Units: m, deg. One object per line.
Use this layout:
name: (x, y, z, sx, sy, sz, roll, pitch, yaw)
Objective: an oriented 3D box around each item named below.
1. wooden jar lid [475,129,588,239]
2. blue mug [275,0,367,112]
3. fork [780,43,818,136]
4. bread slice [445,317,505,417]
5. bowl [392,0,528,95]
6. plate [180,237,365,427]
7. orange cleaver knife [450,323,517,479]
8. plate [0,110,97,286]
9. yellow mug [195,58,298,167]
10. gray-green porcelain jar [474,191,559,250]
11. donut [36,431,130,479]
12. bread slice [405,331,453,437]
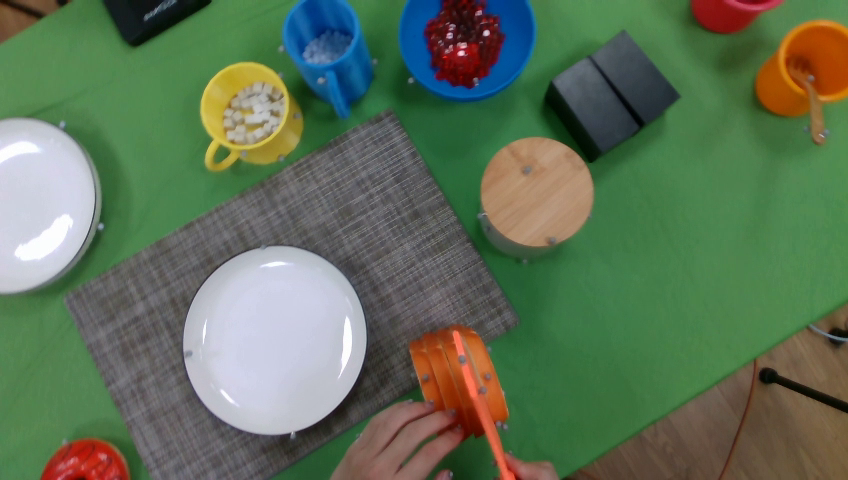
wooden jar lid: (0.103, -0.053, 0.587, 0.108, 0.021, 0.108, 0, 83, 0)
blue mug: (-0.110, -0.203, 0.686, 0.082, 0.106, 0.116, -12, 83, 1)
fork: (0.397, -0.163, 0.638, 0.028, 0.019, 0.206, 31, 42, -1)
bread slice: (0.053, 0.131, 0.629, 0.019, 0.131, 0.105, -20, 87, -7)
bowl: (0.041, -0.230, 0.696, 0.151, 0.077, 0.151, 0, 84, 3)
plate: (-0.167, 0.102, 0.684, 0.209, 0.038, 0.208, 0, 83, 3)
orange cleaver knife: (0.061, 0.169, 0.539, 0.012, 0.076, 0.213, -20, 114, 4)
plate: (-0.485, -0.048, 0.718, 0.207, 0.039, 0.207, 0, 84, 2)
yellow mug: (-0.213, -0.138, 0.702, 0.099, 0.064, 0.131, 36, 88, 7)
gray-green porcelain jar: (0.107, -0.045, 0.649, 0.106, 0.127, 0.105, 0, 83, 2)
donut: (-0.379, 0.263, 0.676, 0.099, 0.048, 0.098, 0, 82, 0)
bread slice: (0.004, 0.146, 0.628, 0.018, 0.134, 0.106, -20, 83, -3)
